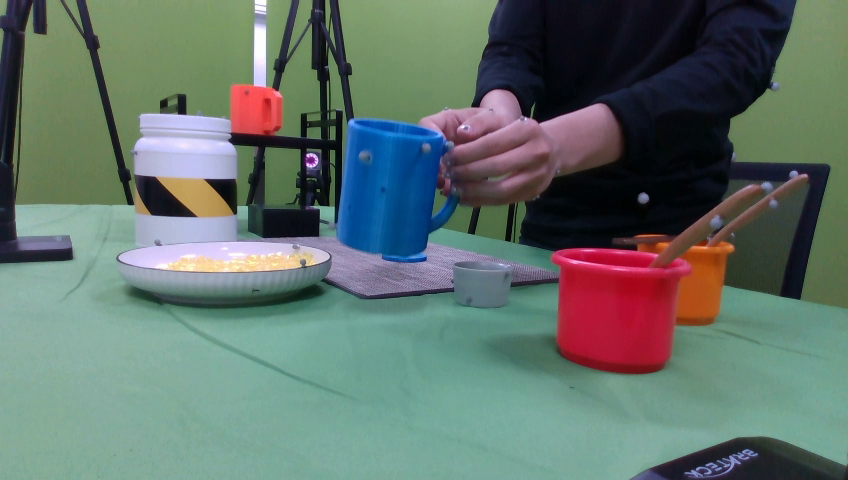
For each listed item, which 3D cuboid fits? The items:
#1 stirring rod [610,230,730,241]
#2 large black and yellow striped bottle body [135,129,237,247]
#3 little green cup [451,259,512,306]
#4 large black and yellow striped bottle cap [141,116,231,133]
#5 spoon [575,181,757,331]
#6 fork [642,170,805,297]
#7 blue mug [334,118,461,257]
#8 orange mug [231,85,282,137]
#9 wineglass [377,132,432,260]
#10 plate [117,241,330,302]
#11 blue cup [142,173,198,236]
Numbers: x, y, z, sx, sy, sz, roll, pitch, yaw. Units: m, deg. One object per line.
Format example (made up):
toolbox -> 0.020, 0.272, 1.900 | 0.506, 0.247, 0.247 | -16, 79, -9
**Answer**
stirring rod -> 0.241, -0.005, 0.582 | 0.177, 0.006, 0.014 | -3, 10, -34
large black and yellow striped bottle body -> -0.327, -0.074, 0.838 | 0.131, 0.184, 0.130 | 2, 7, 0
little green cup -> 0.057, 0.043, 0.612 | 0.061, 0.038, 0.061 | 3, 7, 0
large black and yellow striped bottle cap -> -0.324, -0.157, 0.826 | 0.115, 0.019, 0.115 | 1, 7, 0
spoon -> 0.156, 0.019, 0.412 | 0.042, 0.021, 0.193 | 1, -36, -16
fork -> 0.261, 0.004, 0.545 | 0.028, 0.018, 0.207 | 5, -37, -16
blue mug -> -0.019, -0.048, 0.537 | 0.117, 0.106, 0.082 | -1, 20, -28
orange mug -> -0.335, -0.261, 1.225 | 0.125, 0.100, 0.084 | 2, 6, 35
wineglass -> -0.026, -0.062, 0.841 | 0.074, 0.172, 0.073 | 2, 7, 0
plate -> -0.203, 0.031, 0.630 | 0.209, 0.038, 0.209 | 3, 7, 0
blue cup -> -0.425, -0.060, 1.014 | 0.093, 0.100, 0.092 | 4, 9, 0
